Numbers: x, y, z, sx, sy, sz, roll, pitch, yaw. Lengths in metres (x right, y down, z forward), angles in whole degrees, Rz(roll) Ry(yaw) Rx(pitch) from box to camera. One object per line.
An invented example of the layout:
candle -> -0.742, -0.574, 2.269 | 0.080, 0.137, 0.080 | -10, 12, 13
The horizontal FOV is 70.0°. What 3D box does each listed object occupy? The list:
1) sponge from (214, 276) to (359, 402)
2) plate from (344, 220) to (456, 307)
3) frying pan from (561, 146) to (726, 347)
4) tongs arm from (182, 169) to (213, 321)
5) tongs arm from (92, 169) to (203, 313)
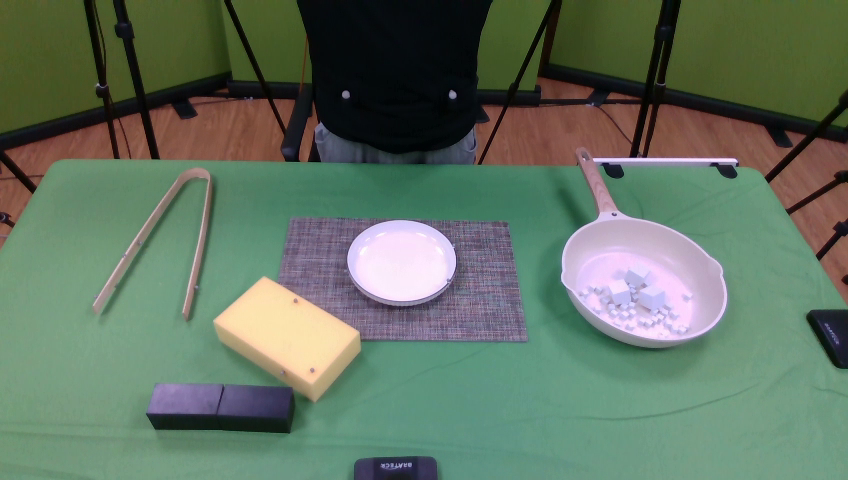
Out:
sponge -> -0.224, 0.158, 0.998 | 0.206, 0.061, 0.118 | 27, 52, 18
plate -> -0.044, 0.047, 1.133 | 0.208, 0.039, 0.206 | 3, 46, -2
frying pan -> 0.378, -0.005, 1.175 | 0.307, 0.103, 0.484 | -4, 55, -9
tongs arm -> -0.436, -0.005, 1.166 | 0.028, 0.028, 0.385 | -5, 46, -6
tongs arm -> -0.517, -0.012, 1.160 | 0.051, 0.026, 0.382 | 7, 45, 1
